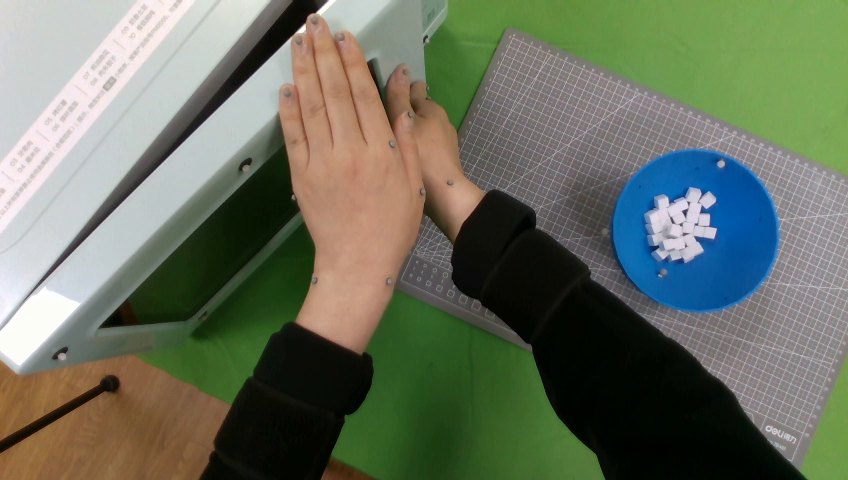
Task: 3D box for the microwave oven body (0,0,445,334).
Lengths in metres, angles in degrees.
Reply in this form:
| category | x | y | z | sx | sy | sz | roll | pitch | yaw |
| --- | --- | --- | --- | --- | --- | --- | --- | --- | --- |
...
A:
| category | x | y | z | sx | sy | sz | roll | pitch | yaw |
| --- | --- | --- | --- | --- | --- | --- | --- | --- | --- |
| microwave oven body | -0.237 | -0.179 | 0.510 | 0.325 | 0.260 | 0.441 | 38 | 88 | 3 |

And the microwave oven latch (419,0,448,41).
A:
| category | x | y | z | sx | sy | sz | roll | pitch | yaw |
| --- | --- | --- | --- | --- | --- | --- | --- | --- | --- |
| microwave oven latch | -0.008 | -0.217 | 0.607 | 0.030 | 0.029 | 0.079 | 40 | 88 | 3 |

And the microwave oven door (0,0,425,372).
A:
| category | x | y | z | sx | sy | sz | roll | pitch | yaw |
| --- | --- | --- | --- | --- | --- | --- | --- | --- | --- |
| microwave oven door | -0.136 | -0.044 | 0.495 | 0.039 | 0.244 | 0.355 | 44 | 87 | 4 |

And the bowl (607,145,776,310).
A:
| category | x | y | z | sx | sy | sz | roll | pitch | yaw |
| --- | --- | --- | --- | --- | --- | --- | --- | --- | --- |
| bowl | 0.244 | -0.009 | 0.585 | 0.151 | 0.077 | 0.151 | 0 | 86 | 1 |
